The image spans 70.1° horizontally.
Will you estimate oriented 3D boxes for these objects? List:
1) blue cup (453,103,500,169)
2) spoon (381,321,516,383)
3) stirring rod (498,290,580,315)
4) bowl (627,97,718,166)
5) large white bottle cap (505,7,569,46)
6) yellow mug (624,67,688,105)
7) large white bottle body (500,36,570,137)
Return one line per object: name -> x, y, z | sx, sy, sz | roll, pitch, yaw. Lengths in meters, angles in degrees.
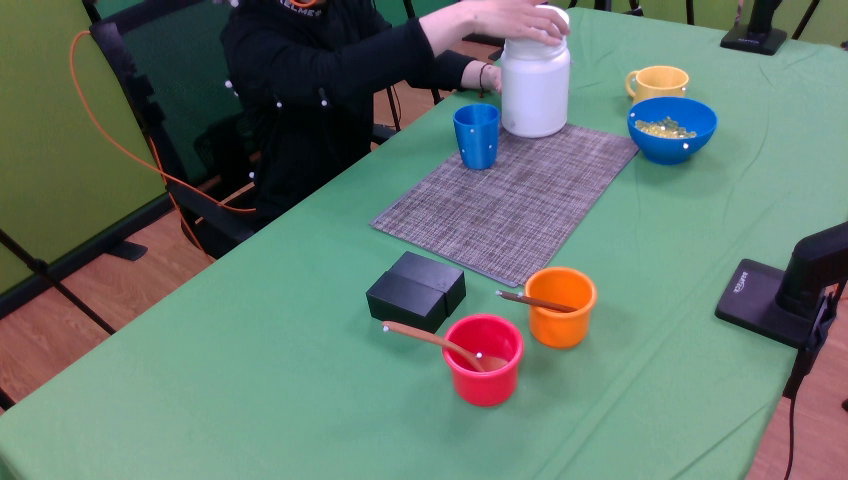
blue cup -> 0.099, -0.188, 1.114 | 0.092, 0.100, 0.092 | -4, 39, 4
spoon -> 0.033, 0.131, 0.725 | 0.195, 0.021, 0.041 | 29, 30, -26
stirring rod -> 0.151, 0.081, 0.772 | 0.178, 0.006, 0.014 | 16, 19, -45
bowl -> 0.439, -0.187, 1.087 | 0.151, 0.077, 0.150 | -4, 41, 4
large white bottle cap -> 0.203, -0.388, 1.095 | 0.115, 0.018, 0.114 | -4, 46, 5
yellow mug -> 0.464, -0.305, 1.230 | 0.100, 0.064, 0.129 | -34, 46, -27
large white bottle body -> 0.214, -0.308, 1.173 | 0.130, 0.185, 0.130 | -4, 41, 4
